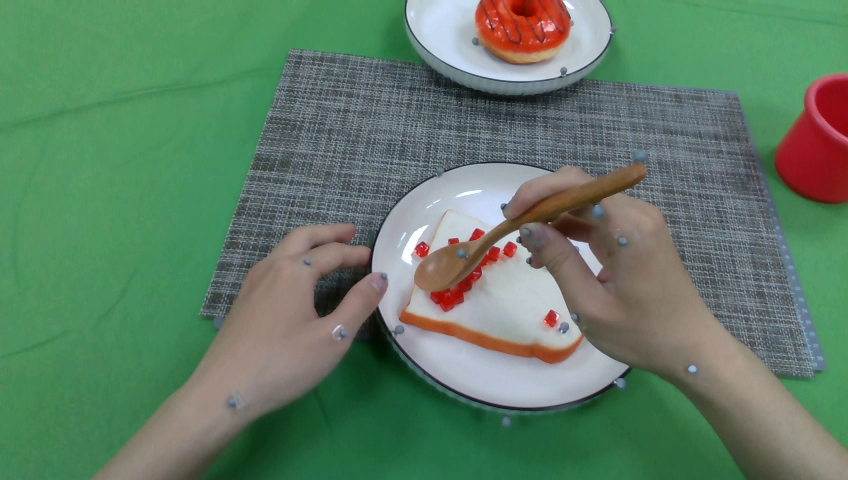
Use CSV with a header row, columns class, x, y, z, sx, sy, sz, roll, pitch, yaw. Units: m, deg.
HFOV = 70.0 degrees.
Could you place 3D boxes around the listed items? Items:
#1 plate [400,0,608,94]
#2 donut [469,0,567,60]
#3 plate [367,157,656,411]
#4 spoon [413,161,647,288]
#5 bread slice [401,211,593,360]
class,x,y,z,sx,sy,sz,roll,pitch,yaw
plate,0.079,-0.215,0.615,0.208,0.039,0.205,2,54,-3
donut,0.094,-0.220,0.605,0.099,0.048,0.098,2,57,-3
plate,0.062,0.027,0.449,0.209,0.038,0.207,2,57,-2
spoon,0.049,-0.006,0.355,0.022,0.193,0.041,38,58,-13
bread slice,0.059,0.032,0.450,0.131,0.019,0.104,14,57,9
